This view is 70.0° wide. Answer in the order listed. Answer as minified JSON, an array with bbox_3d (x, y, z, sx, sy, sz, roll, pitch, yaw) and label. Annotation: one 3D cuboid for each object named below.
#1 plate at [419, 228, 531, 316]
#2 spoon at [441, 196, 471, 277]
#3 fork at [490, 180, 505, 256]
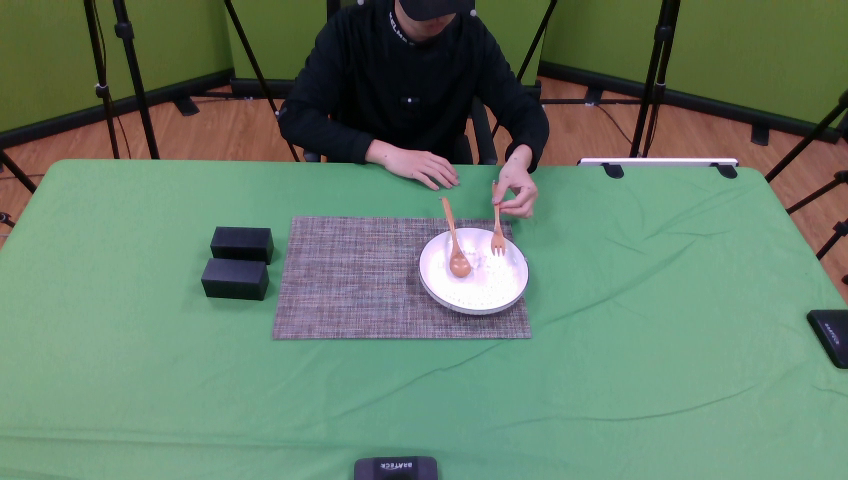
[{"bbox_3d":[0.093,0.062,1.130,0.208,0.039,0.206,2,46,-2],"label":"plate"},{"bbox_3d":[0.057,-0.010,1.176,0.041,0.022,0.192,-7,60,-6],"label":"spoon"},{"bbox_3d":[0.140,-0.045,1.171,0.028,0.019,0.206,-4,50,9],"label":"fork"}]
